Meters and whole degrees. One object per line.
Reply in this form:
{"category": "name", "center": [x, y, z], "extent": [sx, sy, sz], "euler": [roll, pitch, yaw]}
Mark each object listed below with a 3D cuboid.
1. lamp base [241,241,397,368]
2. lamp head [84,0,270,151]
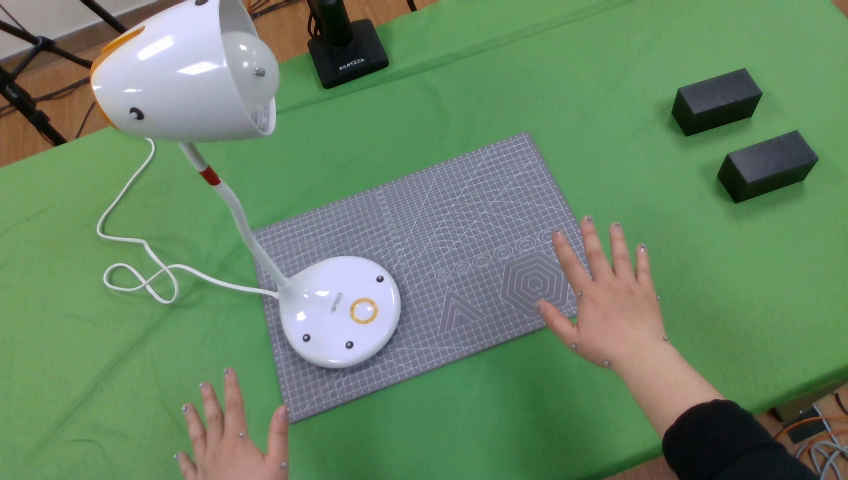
{"category": "lamp base", "center": [-0.139, 0.057, 0.747], "extent": [0.179, 0.182, 0.159], "euler": [2, 63, 14]}
{"category": "lamp head", "center": [-0.193, -0.120, 0.476], "extent": [0.123, 0.113, 0.111], "euler": [-15, 61, 7]}
